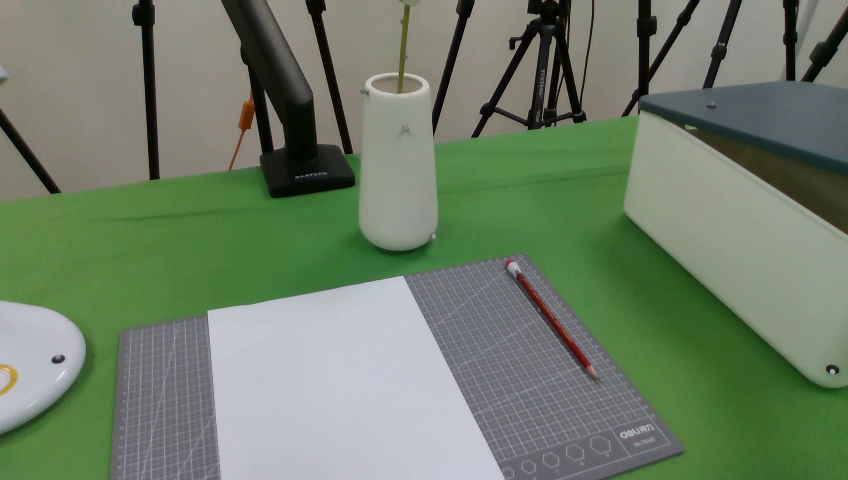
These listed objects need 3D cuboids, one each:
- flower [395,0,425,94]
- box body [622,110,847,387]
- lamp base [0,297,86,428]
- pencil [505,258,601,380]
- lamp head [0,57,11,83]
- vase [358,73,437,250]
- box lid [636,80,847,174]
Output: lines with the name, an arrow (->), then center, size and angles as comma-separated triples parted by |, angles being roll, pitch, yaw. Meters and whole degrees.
flower -> -0.029, -0.142, 0.639 | 0.044, 0.364, 0.038 | 26, 53, 9
box body -> 0.427, -0.029, 0.679 | 0.255, 0.162, 0.360 | -10, 37, -16
lamp base -> -0.401, 0.047, 0.506 | 0.177, 0.182, 0.160 | 24, 40, 32
pencil -> 0.131, 0.077, 0.639 | 0.012, 0.012, 0.192 | -11, 38, -18
lamp head -> -0.314, -0.118, 0.323 | 0.112, 0.124, 0.111 | -25, 19, 10
vase -> -0.032, -0.087, 0.705 | 0.098, 0.201, 0.097 | 0, 34, 0
box lid -> 0.427, -0.119, 0.616 | 0.264, 0.015, 0.367 | -10, 25, -16
